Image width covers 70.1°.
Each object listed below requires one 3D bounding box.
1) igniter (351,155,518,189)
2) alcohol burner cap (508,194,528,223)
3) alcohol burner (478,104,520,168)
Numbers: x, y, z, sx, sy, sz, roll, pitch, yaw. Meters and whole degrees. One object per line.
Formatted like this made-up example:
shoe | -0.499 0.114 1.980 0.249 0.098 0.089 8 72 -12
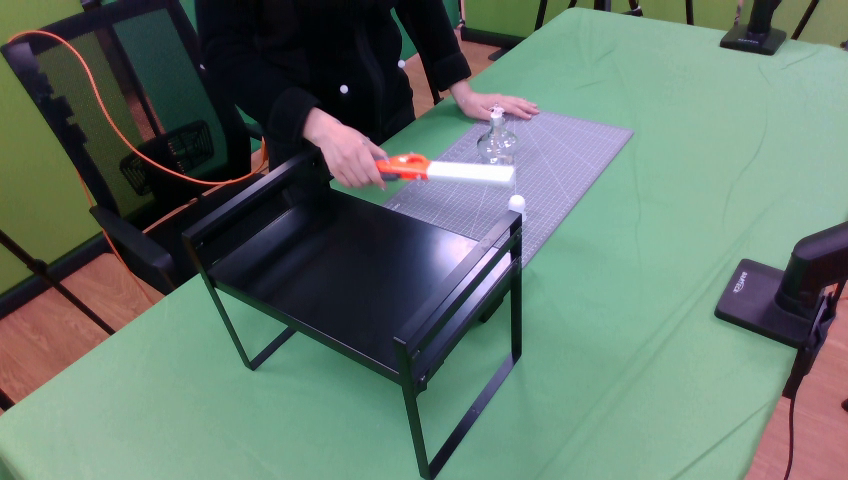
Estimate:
igniter | 0.005 -0.102 0.896 0.275 0.025 0.057 8 47 27
alcohol burner cap | 0.155 -0.054 0.996 0.034 0.048 0.033 -4 39 4
alcohol burner | 0.137 -0.193 1.106 0.078 0.119 0.077 -5 39 4
